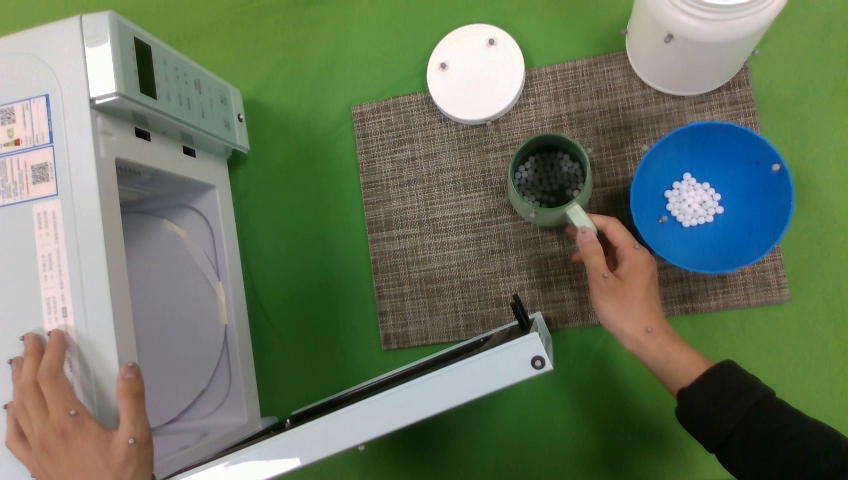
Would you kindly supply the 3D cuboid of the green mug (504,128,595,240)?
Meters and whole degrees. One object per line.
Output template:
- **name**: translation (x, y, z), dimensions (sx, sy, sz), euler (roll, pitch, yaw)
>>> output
- **green mug**: translation (0.139, -0.054, 0.639), dimensions (0.092, 0.105, 0.125), euler (-36, 81, 7)

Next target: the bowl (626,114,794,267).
- **bowl**: translation (0.282, -0.046, 0.624), dimensions (0.151, 0.077, 0.151), euler (-1, 87, 12)

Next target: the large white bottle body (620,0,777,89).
- **large white bottle body**: translation (0.263, -0.237, 0.581), dimensions (0.130, 0.185, 0.130), euler (-1, 83, 12)

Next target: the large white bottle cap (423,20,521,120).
- **large white bottle cap**: translation (0.055, -0.198, 0.705), dimensions (0.114, 0.018, 0.114), euler (-1, 86, 11)

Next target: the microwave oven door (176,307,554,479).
- **microwave oven door**: translation (-0.046, 0.155, 0.583), dimensions (0.356, 0.244, 0.039), euler (-25, 82, 9)

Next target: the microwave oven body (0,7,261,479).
- **microwave oven body**: translation (-0.374, 0.043, 0.656), dimensions (0.325, 0.261, 0.440), euler (-10, 86, 10)

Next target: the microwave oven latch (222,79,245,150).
- **microwave oven latch**: translation (-0.240, -0.152, 0.737), dimensions (0.030, 0.029, 0.079), euler (-11, 86, 10)
